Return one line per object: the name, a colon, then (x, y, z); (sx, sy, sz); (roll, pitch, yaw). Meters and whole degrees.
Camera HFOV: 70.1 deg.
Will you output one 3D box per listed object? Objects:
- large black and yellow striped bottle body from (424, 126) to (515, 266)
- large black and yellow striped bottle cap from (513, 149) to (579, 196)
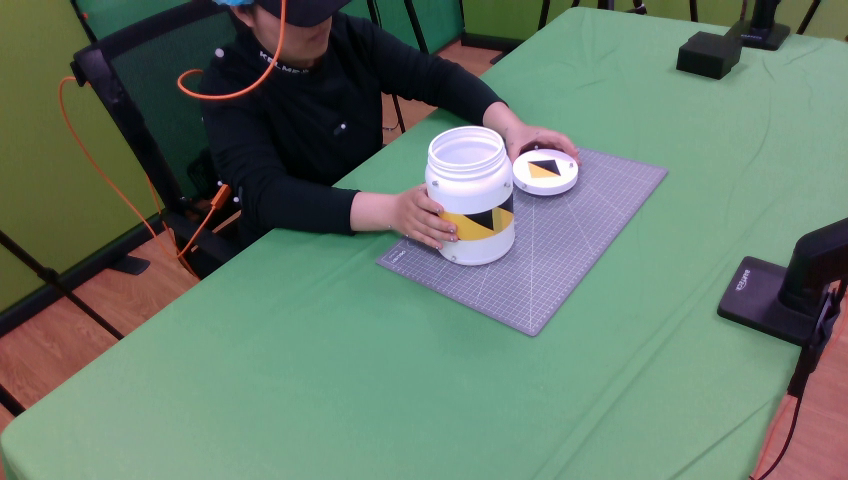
large black and yellow striped bottle body: (0.071, -0.067, 0.919); (0.131, 0.185, 0.130); (-5, 40, 5)
large black and yellow striped bottle cap: (0.214, -0.121, 1.064); (0.115, 0.019, 0.114); (-4, 43, 4)
